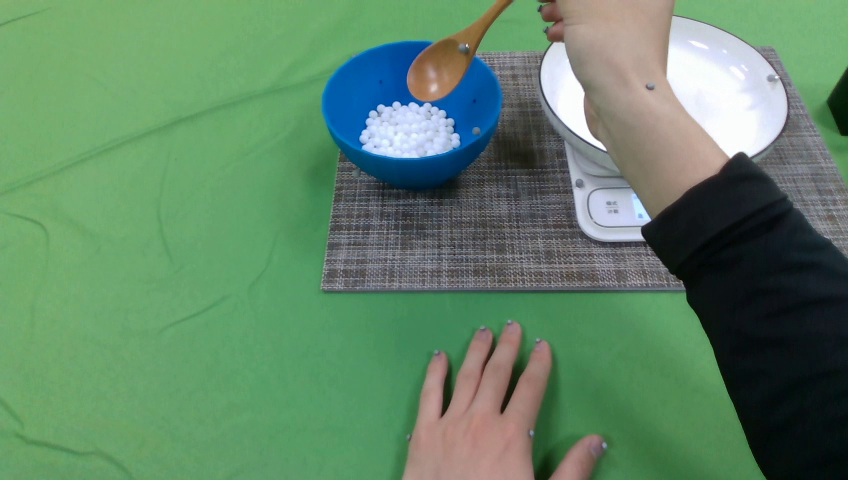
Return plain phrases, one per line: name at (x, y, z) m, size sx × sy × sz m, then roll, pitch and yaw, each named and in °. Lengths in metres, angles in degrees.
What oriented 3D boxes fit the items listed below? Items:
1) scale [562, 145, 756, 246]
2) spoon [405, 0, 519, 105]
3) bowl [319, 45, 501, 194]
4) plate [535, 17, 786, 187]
scale at (0.200, -0.082, 0.543) m, size 0.148 × 0.032 × 0.199 m, roll -1°, pitch 54°, yaw 2°
spoon at (0.053, -0.157, 0.419) m, size 0.022 × 0.194 × 0.041 m, roll -9°, pitch 71°, yaw -46°
bowl at (-0.010, -0.093, 0.530) m, size 0.151 × 0.077 × 0.150 m, roll -1°, pitch 53°, yaw 1°
plate at (0.200, -0.120, 0.531) m, size 0.209 × 0.038 × 0.207 m, roll 0°, pitch 53°, yaw 1°
